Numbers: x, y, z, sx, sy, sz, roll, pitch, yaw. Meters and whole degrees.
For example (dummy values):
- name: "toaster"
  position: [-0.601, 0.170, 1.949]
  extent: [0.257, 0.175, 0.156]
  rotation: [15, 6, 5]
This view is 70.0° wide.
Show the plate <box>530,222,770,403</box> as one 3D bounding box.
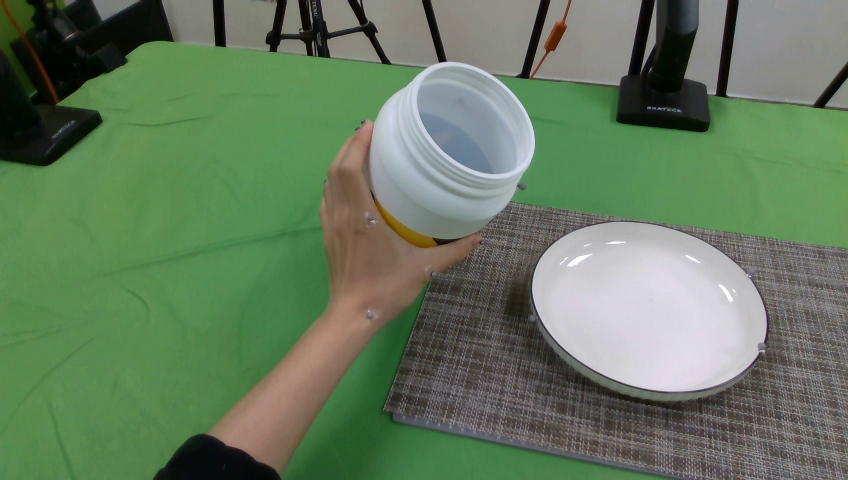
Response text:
- name: "plate"
  position: [0.201, 0.064, 0.559]
  extent: [0.208, 0.039, 0.205]
  rotation: [-1, 43, 1]

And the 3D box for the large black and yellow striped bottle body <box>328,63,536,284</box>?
- name: "large black and yellow striped bottle body"
  position: [0.003, -0.052, 0.531]
  extent: [0.131, 0.184, 0.129]
  rotation: [13, 59, -22]
